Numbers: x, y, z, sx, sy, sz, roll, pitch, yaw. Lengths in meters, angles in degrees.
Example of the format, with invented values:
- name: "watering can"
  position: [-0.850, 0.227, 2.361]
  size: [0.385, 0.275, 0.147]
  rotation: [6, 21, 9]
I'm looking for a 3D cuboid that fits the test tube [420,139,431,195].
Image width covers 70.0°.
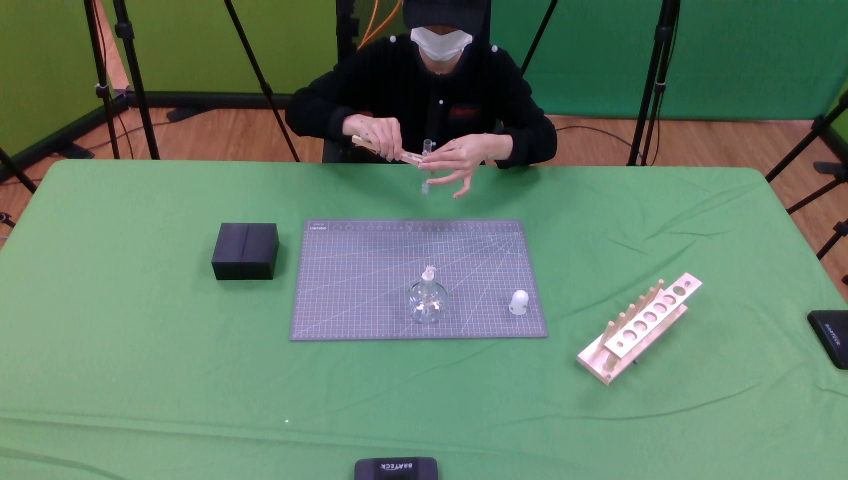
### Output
- name: "test tube"
  position: [0.003, -0.138, 1.174]
  size: [0.017, 0.151, 0.017]
  rotation: [2, 54, -2]

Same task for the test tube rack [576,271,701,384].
- name: "test tube rack"
  position: [0.373, 0.138, 1.047]
  size: [0.242, 0.085, 0.066]
  rotation: [-31, 56, -29]

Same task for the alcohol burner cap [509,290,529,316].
- name: "alcohol burner cap"
  position: [0.171, 0.110, 1.086]
  size: [0.034, 0.048, 0.033]
  rotation: [2, 45, -2]

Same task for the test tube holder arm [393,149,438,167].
- name: "test tube holder arm"
  position: [-0.017, -0.157, 1.164]
  size: [0.088, 0.015, 0.010]
  rotation: [13, 39, 0]

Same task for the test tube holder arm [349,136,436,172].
- name: "test tube holder arm"
  position: [-0.061, -0.167, 1.163]
  size: [0.178, 0.015, 0.013]
  rotation: [19, 38, 7]

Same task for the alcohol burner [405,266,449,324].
- name: "alcohol burner"
  position: [0.005, 0.089, 1.043]
  size: [0.078, 0.120, 0.077]
  rotation: [1, 45, -1]
